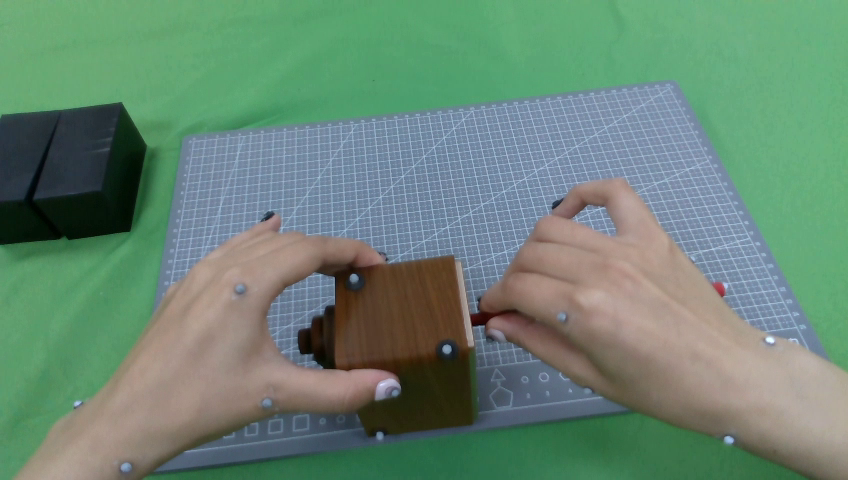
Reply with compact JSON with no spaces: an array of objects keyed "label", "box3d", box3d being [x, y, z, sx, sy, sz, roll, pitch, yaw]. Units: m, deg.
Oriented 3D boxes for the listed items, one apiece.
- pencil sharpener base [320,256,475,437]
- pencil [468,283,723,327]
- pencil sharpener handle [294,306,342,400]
[{"label":"pencil sharpener base","box3d":[-0.012,0.066,0.351,0.077,0.108,0.060,-8,53,0]},{"label":"pencil","box3d":[0.066,0.039,0.327,0.194,0.012,0.012,-6,53,-2]},{"label":"pencil sharpener handle","box3d":[-0.064,0.067,0.338,0.030,0.068,0.035,-8,42,0]}]
